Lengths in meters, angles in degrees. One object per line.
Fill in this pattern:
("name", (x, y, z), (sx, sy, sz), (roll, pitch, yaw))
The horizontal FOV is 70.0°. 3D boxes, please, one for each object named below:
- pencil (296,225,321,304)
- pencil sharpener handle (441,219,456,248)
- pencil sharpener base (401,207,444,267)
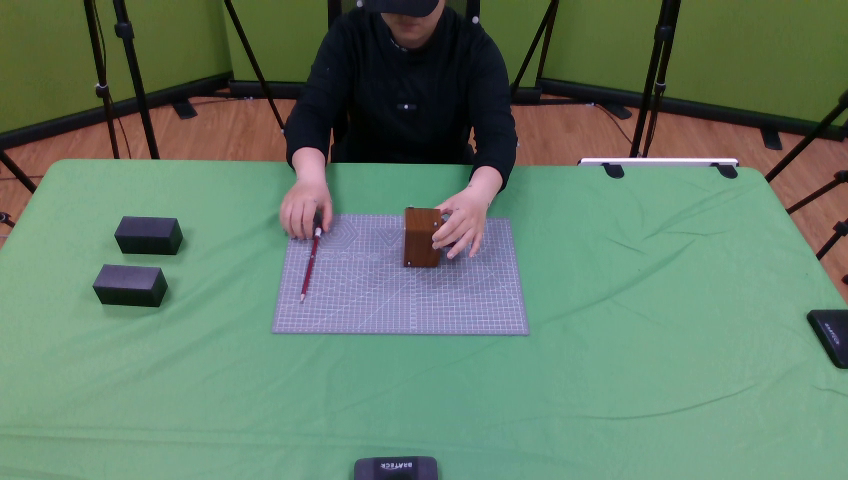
("pencil", (-0.218, 0.043, 1.144), (0.012, 0.012, 0.193), (6, 48, 1))
("pencil sharpener handle", (0.048, -0.011, 1.132), (0.031, 0.068, 0.036), (1, 46, -4))
("pencil sharpener base", (-0.004, -0.003, 1.137), (0.077, 0.107, 0.061), (1, 45, -4))
